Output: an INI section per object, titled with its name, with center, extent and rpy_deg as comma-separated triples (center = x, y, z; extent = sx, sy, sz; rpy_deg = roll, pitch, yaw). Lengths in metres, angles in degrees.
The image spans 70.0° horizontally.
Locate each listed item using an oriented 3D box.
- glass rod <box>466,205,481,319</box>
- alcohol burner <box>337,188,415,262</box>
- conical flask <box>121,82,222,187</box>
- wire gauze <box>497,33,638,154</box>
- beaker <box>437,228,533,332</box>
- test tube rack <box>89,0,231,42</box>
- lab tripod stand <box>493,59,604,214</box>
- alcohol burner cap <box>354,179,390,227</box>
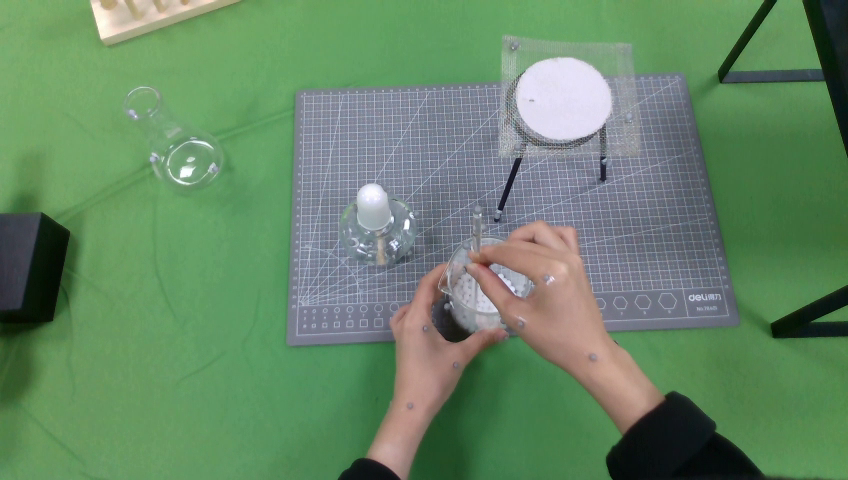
[glass rod]
center = 0.040, 0.026, 0.502
extent = 0.008, 0.201, 0.008
rpy_deg = -1, 61, 2
[alcohol burner]
center = -0.047, -0.022, 0.585
extent = 0.078, 0.120, 0.077
rpy_deg = 0, 68, 0
[conical flask]
center = -0.262, -0.111, 0.619
extent = 0.075, 0.122, 0.075
rpy_deg = 0, 69, 1
[wire gauze]
center = 0.126, -0.132, 0.539
extent = 0.121, 0.011, 0.124
rpy_deg = 3, 70, 1
[beaker]
center = 0.054, 0.043, 0.567
extent = 0.084, 0.101, 0.073
rpy_deg = -12, 69, -3
[test tube rack]
center = -0.288, -0.326, 0.717
extent = 0.242, 0.086, 0.066
rpy_deg = -22, 71, -7
[lab tripod stand]
center = 0.121, -0.104, 0.601
extent = 0.148, 0.132, 0.147
rpy_deg = 0, 68, 0
[alcohol burner cap]
center = -0.049, -0.037, 0.551
extent = 0.034, 0.048, 0.033
rpy_deg = 1, 63, -2
